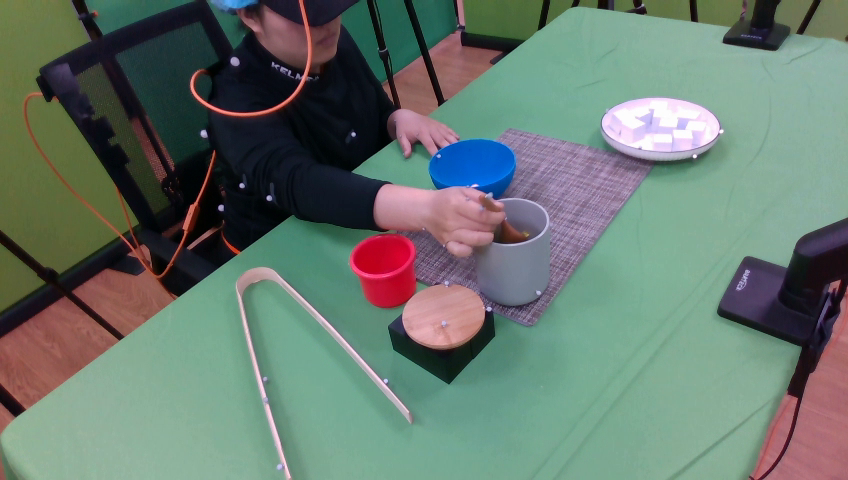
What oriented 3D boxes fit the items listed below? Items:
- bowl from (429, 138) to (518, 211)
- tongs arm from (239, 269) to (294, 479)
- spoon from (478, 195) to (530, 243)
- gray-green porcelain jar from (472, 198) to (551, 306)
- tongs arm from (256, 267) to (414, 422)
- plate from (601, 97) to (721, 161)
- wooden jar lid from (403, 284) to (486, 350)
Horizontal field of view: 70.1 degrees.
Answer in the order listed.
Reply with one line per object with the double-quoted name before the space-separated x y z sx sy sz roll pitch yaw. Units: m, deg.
"bowl" 0.087 -0.104 1.043 0.151 0.077 0.150 -5 40 5
"tongs arm" -0.208 0.163 0.824 0.051 0.026 0.381 -22 40 -15
"spoon" 0.102 -0.027 0.800 0.041 0.195 0.021 1 72 24
"gray-green porcelain jar" 0.125 0.021 0.850 0.106 0.127 0.105 -6 40 5
"tongs arm" -0.136 0.132 0.853 0.028 0.028 0.384 -34 45 -23
"plate" 0.437 -0.203 1.126 0.209 0.038 0.208 -5 39 5
"wooden jar lid" 0.027 0.101 0.786 0.108 0.021 0.108 -5 39 5
